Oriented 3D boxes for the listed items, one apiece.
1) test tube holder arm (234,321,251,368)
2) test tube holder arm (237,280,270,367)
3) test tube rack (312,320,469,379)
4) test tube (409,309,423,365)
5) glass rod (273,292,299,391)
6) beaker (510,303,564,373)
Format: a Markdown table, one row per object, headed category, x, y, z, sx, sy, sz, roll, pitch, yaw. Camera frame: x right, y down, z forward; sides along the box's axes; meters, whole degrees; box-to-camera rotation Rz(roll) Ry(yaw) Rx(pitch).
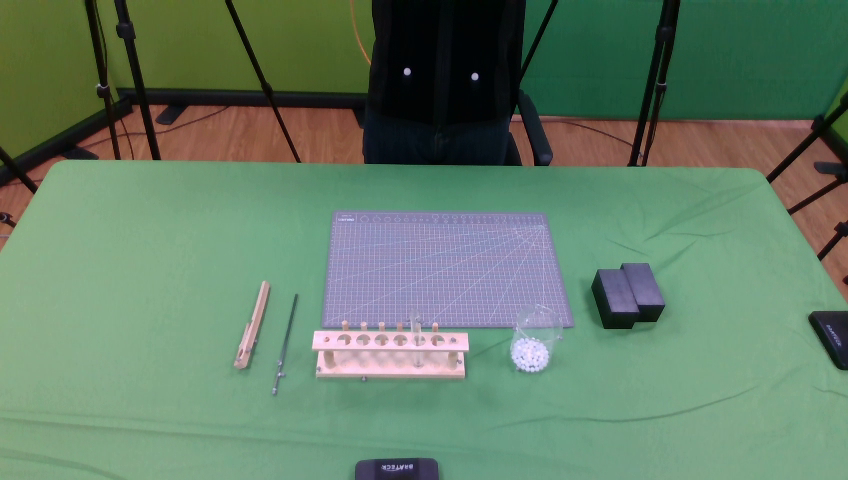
| category | x | y | z | sx | sy | sz | roll | pitch | yaw |
| --- | --- | --- | --- | --- | --- | --- | --- | --- | --- |
| test tube holder arm | -0.299 | 0.173 | 1.013 | 0.010 | 0.015 | 0.087 | -16 | 42 | 22 |
| test tube holder arm | -0.290 | 0.139 | 1.042 | 0.013 | 0.015 | 0.177 | -17 | 42 | 22 |
| test tube rack | -0.054 | 0.173 | 0.984 | 0.242 | 0.085 | 0.066 | 1 | 46 | -3 |
| test tube | -0.012 | 0.153 | 0.937 | 0.017 | 0.151 | 0.017 | -1 | 50 | 2 |
| glass rod | -0.233 | 0.167 | 1.030 | 0.008 | 0.008 | 0.198 | 3 | 46 | 0 |
| beaker | 0.182 | 0.164 | 1.000 | 0.074 | 0.101 | 0.083 | 2 | 45 | -1 |
